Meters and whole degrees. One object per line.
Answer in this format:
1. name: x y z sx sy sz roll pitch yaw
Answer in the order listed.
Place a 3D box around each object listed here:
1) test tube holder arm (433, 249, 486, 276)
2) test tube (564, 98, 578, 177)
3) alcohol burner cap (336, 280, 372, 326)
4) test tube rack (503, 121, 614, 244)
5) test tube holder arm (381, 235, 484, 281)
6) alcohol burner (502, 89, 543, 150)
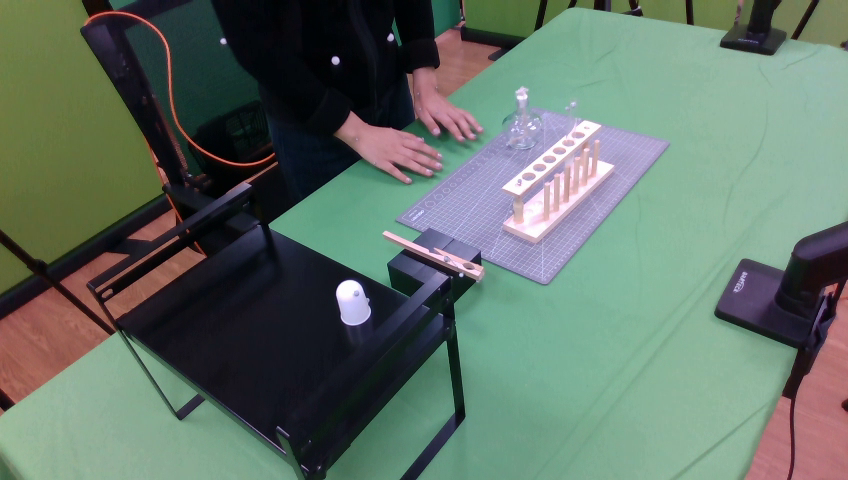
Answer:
1. test tube holder arm: 0.048 0.033 0.858 0.087 0.015 0.010 19 52 30
2. test tube: 0.244 -0.166 1.004 0.017 0.151 0.017 -5 42 5
3. alcohol burner cap: -0.073 0.061 0.619 0.034 0.048 0.033 -4 42 4
4. test tube rack: 0.230 -0.101 1.006 0.066 0.085 0.243 26 50 35
5. test tube holder arm: 0.008 0.024 0.877 0.177 0.015 0.013 19 51 29
6. alcohol burner: 0.186 -0.233 1.146 0.078 0.119 0.077 -5 42 5
